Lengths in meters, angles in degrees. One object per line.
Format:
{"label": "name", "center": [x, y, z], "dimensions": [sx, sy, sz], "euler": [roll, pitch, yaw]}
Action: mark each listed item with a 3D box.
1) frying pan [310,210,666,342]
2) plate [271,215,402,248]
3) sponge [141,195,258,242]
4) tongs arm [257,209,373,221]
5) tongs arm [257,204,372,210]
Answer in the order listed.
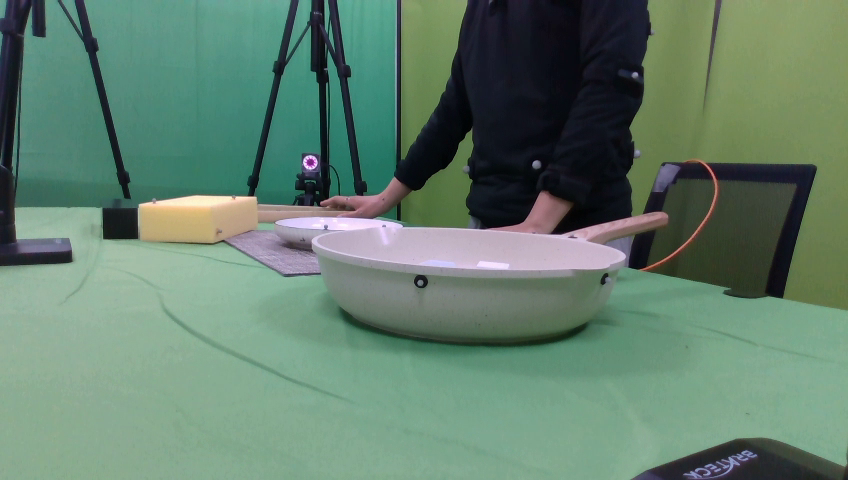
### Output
{"label": "frying pan", "center": [0.120, 0.011, 0.643], "dimensions": [0.490, 0.102, 0.305], "euler": [-13, 16, -36]}
{"label": "plate", "center": [-0.141, -0.012, 0.978], "dimensions": [0.208, 0.039, 0.207], "euler": [3, 7, 0]}
{"label": "sponge", "center": [-0.380, -0.040, 1.047], "dimensions": [0.118, 0.061, 0.207], "euler": [1, 8, 3]}
{"label": "tongs arm", "center": [-0.276, -0.055, 1.350], "dimensions": [0.390, 0.028, 0.028], "euler": [-2, 5, -36]}
{"label": "tongs arm", "center": [-0.312, -0.069, 1.418], "dimensions": [0.387, 0.026, 0.050], "euler": [1, 7, -24]}
